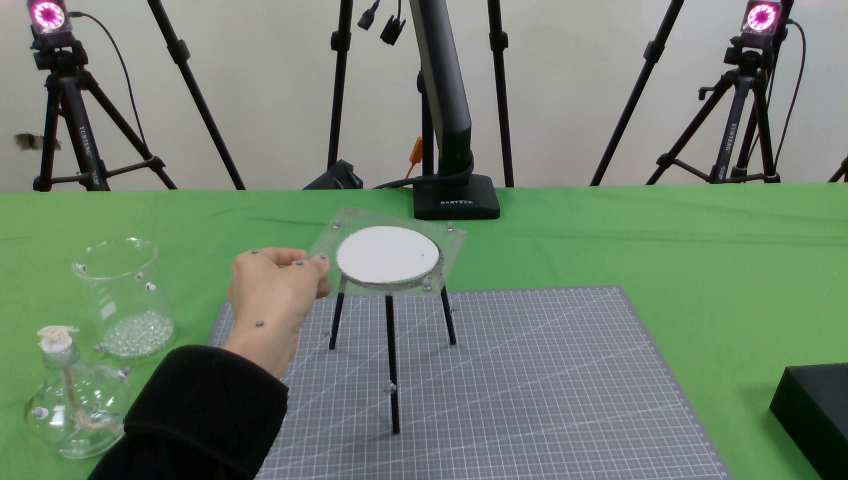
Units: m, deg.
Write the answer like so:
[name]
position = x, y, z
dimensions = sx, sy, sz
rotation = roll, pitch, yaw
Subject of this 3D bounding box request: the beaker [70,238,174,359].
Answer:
[beaker]
position = -0.288, 0.057, 0.592
dimensions = 0.074, 0.101, 0.083
rotation = 5, 31, 6

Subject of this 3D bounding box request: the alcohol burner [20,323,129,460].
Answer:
[alcohol burner]
position = -0.280, 0.116, 0.482
dimensions = 0.078, 0.120, 0.077
rotation = 2, 30, -1

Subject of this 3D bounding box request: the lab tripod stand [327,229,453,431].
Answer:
[lab tripod stand]
position = -0.029, 0.070, 0.538
dimensions = 0.148, 0.132, 0.147
rotation = 2, 32, -1

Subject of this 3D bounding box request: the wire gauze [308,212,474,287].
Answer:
[wire gauze]
position = -0.027, 0.002, 0.490
dimensions = 0.125, 0.011, 0.120
rotation = 4, 26, -9
